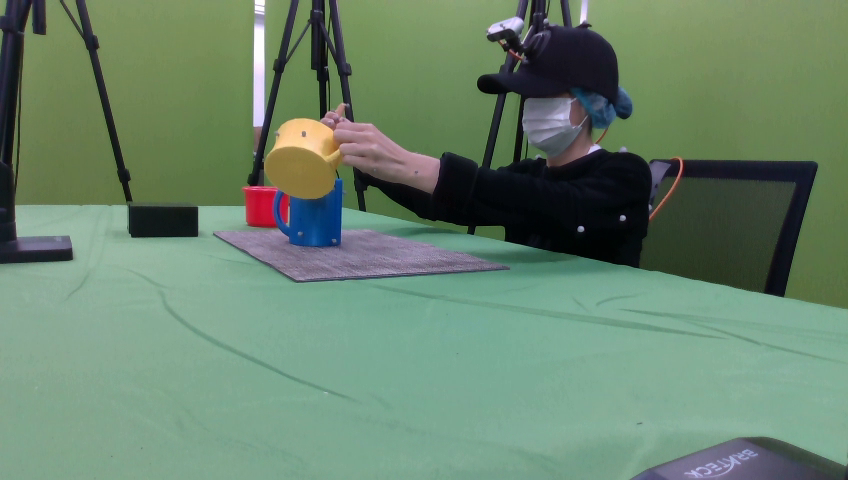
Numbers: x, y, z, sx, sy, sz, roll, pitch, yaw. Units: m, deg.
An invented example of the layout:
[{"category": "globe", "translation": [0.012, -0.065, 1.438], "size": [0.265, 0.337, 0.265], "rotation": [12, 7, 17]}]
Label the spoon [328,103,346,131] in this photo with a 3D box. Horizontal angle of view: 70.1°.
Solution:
[{"category": "spoon", "translation": [-0.160, -0.173, 0.983], "size": [0.041, 0.022, 0.193], "rotation": [-3, 36, 17]}]

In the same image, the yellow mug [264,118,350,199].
[{"category": "yellow mug", "translation": [-0.159, -0.121, 0.866], "size": [0.130, 0.064, 0.100], "rotation": [-16, -46, 26]}]

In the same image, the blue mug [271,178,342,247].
[{"category": "blue mug", "translation": [-0.190, -0.047, 0.963], "size": [0.116, 0.106, 0.082], "rotation": [4, 7, 13]}]
